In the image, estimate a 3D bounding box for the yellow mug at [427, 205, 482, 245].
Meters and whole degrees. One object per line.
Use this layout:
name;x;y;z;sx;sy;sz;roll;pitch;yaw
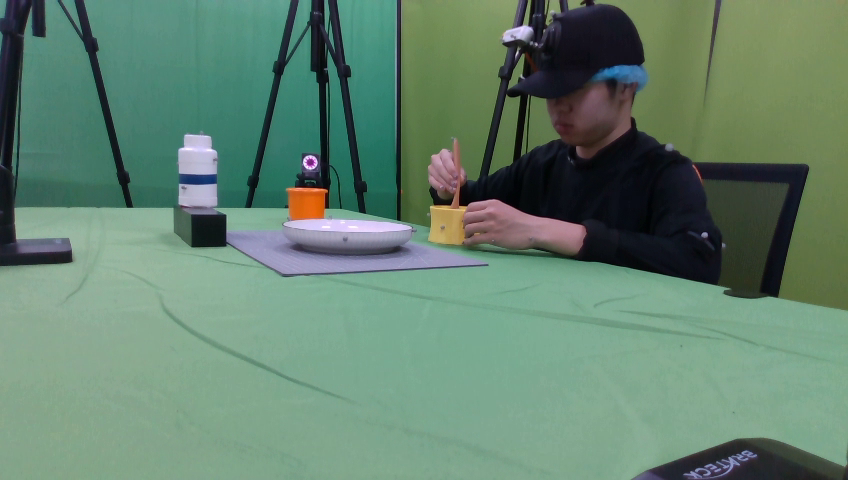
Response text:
yellow mug;0.063;-0.028;1.111;0.100;0.064;0.130;0;8;-21

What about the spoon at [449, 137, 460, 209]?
spoon;0.058;-0.097;1.131;0.042;0.193;0.021;7;-6;-39

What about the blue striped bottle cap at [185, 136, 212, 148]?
blue striped bottle cap;-0.390;-0.169;1.047;0.044;0.020;0.044;4;10;0

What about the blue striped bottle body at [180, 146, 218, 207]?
blue striped bottle body;-0.392;-0.118;1.053;0.063;0.120;0.063;2;8;0

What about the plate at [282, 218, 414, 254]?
plate;-0.121;-0.007;0.971;0.208;0.039;0.207;2;7;0
